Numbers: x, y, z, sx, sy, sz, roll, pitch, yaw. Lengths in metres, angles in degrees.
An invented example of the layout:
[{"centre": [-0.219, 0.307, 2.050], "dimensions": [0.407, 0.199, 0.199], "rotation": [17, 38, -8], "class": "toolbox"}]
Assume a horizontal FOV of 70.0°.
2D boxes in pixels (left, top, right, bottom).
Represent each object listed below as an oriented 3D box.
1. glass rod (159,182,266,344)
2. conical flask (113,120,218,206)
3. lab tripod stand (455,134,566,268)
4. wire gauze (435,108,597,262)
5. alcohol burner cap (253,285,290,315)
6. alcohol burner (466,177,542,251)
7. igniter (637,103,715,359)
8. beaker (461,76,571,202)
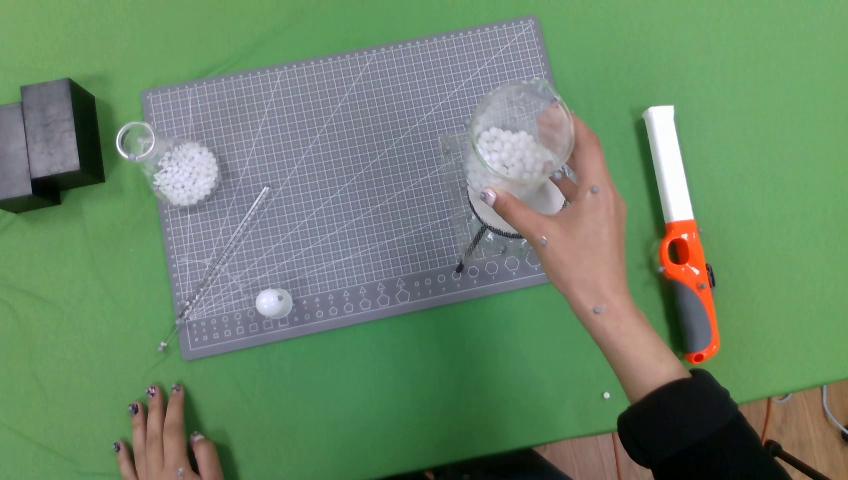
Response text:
[{"centre": [-0.223, 0.022, 0.641], "dimensions": [0.008, 0.008, 0.199], "rotation": [31, 83, 3], "class": "glass rod"}, {"centre": [-0.258, -0.081, 0.597], "dimensions": [0.075, 0.122, 0.075], "rotation": [0, 81, -1], "class": "conical flask"}, {"centre": [0.079, -0.036, 0.593], "dimensions": [0.148, 0.131, 0.148], "rotation": [0, 84, -1], "class": "lab tripod stand"}, {"centre": [0.080, -0.048, 0.526], "dimensions": [0.125, 0.011, 0.121], "rotation": [-9, 84, -2], "class": "wire gauze"}, {"centre": [-0.158, 0.061, 0.621], "dimensions": [0.034, 0.048, 0.034], "rotation": [0, 82, -2], "class": "alcohol burner cap"}, {"centre": [0.081, -0.029, 0.602], "dimensions": [0.078, 0.119, 0.077], "rotation": [0, 83, 1], "class": "alcohol burner"}, {"centre": [0.270, -0.013, 0.650], "dimensions": [0.057, 0.025, 0.275], "rotation": [-7, 83, -13], "class": "igniter"}, {"centre": [0.068, -0.074, 0.474], "dimensions": [0.074, 0.100, 0.084], "rotation": [23, 83, 2], "class": "beaker"}]
